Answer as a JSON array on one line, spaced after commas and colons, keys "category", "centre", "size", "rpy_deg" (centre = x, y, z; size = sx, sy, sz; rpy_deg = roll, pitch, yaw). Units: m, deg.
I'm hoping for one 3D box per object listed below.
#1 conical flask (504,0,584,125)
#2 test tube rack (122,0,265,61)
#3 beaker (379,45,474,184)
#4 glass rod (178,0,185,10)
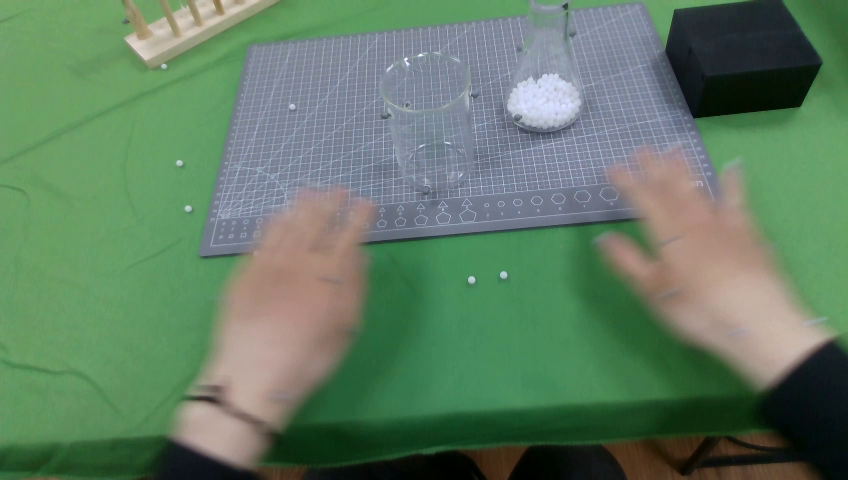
[{"category": "conical flask", "centre": [0.108, -0.168, 0.537], "size": [0.075, 0.123, 0.074], "rpy_deg": [-3, 54, 5]}, {"category": "test tube rack", "centre": [-0.247, -0.316, 0.713], "size": [0.242, 0.086, 0.066], "rpy_deg": [-37, 58, -18]}, {"category": "beaker", "centre": [0.004, -0.104, 0.519], "size": [0.074, 0.101, 0.083], "rpy_deg": [-25, 54, -10]}, {"category": "glass rod", "centre": [-0.291, -0.346, 0.658], "size": [0.008, 0.201, 0.008], "rpy_deg": [0, 47, 0]}]
